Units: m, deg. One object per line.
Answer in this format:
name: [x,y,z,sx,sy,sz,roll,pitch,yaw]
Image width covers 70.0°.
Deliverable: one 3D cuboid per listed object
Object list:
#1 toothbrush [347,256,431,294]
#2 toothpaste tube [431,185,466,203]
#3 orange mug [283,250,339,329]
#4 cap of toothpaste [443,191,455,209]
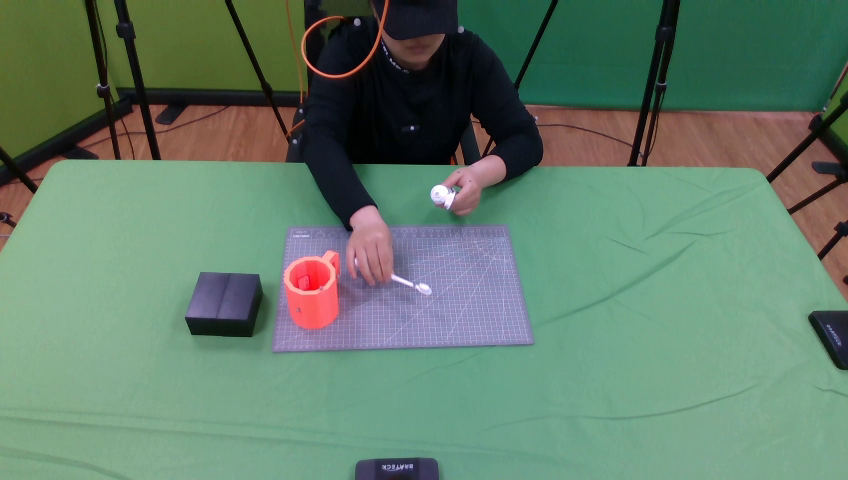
toothbrush: [-0.066,0.060,1.092,0.181,0.017,0.014,20,61,26]
toothpaste tube: [0.045,-0.089,1.184,0.055,0.034,0.165,6,5,12]
orange mug: [-0.186,0.079,1.052,0.083,0.101,0.126,20,52,15]
cap of toothpaste: [0.044,-0.073,1.095,0.011,0.037,0.037,26,46,-8]
